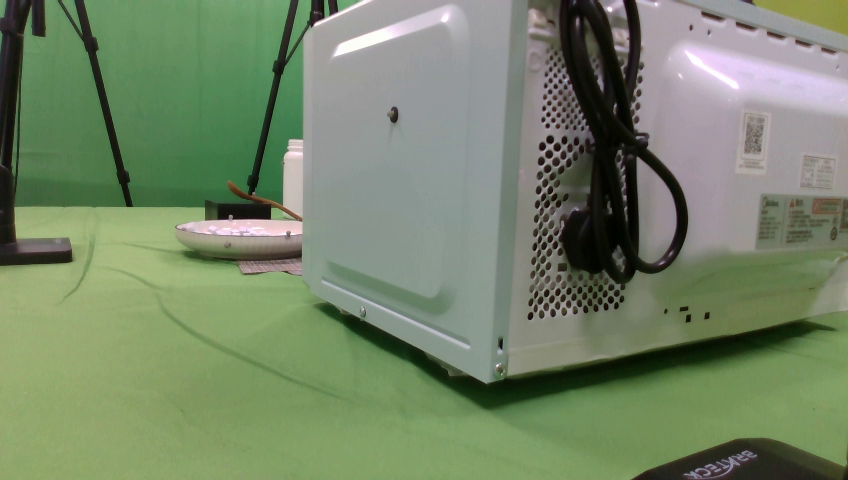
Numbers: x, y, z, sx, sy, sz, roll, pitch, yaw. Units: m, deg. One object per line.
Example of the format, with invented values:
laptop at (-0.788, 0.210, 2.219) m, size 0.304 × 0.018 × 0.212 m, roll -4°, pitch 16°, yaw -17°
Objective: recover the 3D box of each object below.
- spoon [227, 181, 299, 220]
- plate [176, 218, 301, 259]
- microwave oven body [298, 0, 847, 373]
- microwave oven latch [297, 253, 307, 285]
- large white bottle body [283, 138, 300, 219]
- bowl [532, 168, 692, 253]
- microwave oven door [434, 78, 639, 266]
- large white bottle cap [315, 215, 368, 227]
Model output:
spoon at (-0.315, -0.074, 1.235) m, size 0.195 × 0.021 × 0.041 m, roll 24°, pitch -9°, yaw -37°
plate at (-0.248, -0.003, 0.877) m, size 0.209 × 0.038 × 0.209 m, roll 1°, pitch 8°, yaw 0°
microwave oven body at (0.151, -0.055, 0.543) m, size 0.444 × 0.260 × 0.324 m, roll -1°, pitch 7°, yaw -33°
microwave oven latch at (-0.082, 0.027, 0.582) m, size 0.079 × 0.029 × 0.030 m, roll -1°, pitch 7°, yaw -32°
large white bottle body at (-0.265, -0.144, 1.423) m, size 0.131 × 0.184 × 0.130 m, roll 2°, pitch 7°, yaw 0°
bowl at (0.180, -0.030, 0.596) m, size 0.151 × 0.077 × 0.151 m, roll 1°, pitch 6°, yaw 0°
microwave oven door at (0.146, -0.106, 0.906) m, size 0.039 × 0.243 × 0.354 m, roll -4°, pitch 10°, yaw -40°
large white bottle cap at (-0.178, -0.041, 1.309) m, size 0.115 × 0.018 × 0.115 m, roll 2°, pitch 6°, yaw 0°
